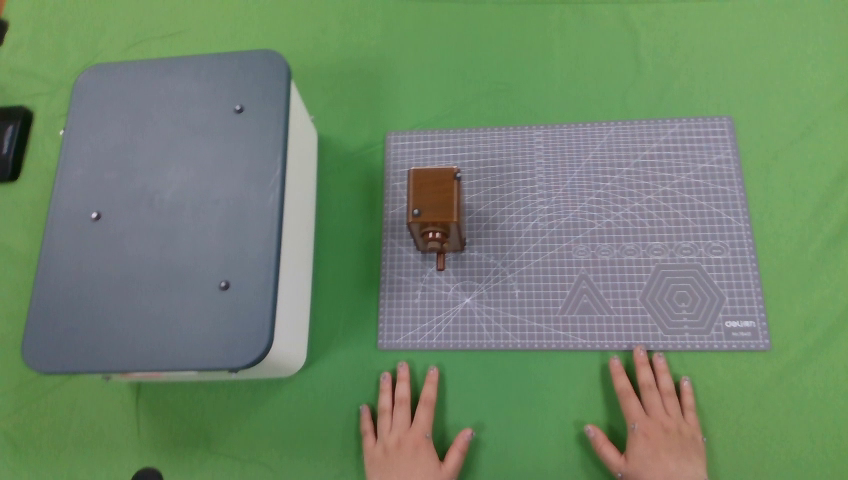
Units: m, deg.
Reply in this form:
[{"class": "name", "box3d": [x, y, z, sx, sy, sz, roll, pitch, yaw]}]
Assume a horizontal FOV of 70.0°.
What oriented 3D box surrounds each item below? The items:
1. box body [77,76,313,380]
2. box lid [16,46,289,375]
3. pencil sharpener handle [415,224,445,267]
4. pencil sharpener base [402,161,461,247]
[{"class": "box body", "box3d": [-0.273, -0.019, 0.719, 0.254, 0.161, 0.361, -3, 71, 5]}, {"class": "box lid", "box3d": [-0.281, -0.046, 0.650, 0.263, 0.015, 0.369, -3, 71, 5]}, {"class": "pencil sharpener handle", "box3d": [0.011, 0.007, 0.691, 0.036, 0.068, 0.030, -4, 71, 14]}, {"class": "pencil sharpener base", "box3d": [0.011, -0.037, 0.718, 0.061, 0.108, 0.076, -1, 72, 6]}]
